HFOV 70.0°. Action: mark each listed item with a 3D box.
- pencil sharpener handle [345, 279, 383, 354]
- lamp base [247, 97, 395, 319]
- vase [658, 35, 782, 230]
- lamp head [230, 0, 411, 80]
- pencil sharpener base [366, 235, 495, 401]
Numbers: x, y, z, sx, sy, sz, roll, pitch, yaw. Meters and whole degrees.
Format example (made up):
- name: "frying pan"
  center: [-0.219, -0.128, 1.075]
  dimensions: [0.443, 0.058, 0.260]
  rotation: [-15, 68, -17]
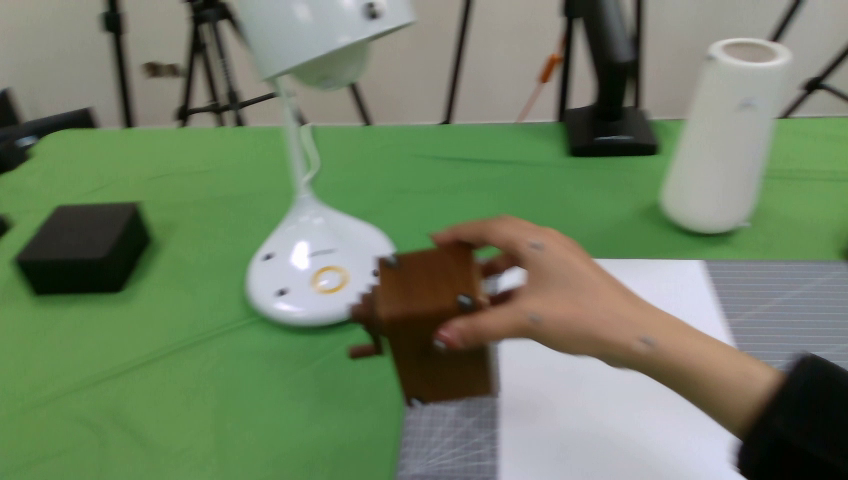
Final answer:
- name: "pencil sharpener handle"
  center: [-0.046, 0.058, 0.424]
  dimensions: [0.030, 0.068, 0.035]
  rotation: [-10, 45, 1]
- name: "lamp base"
  center: [-0.119, -0.040, 0.612]
  dimensions: [0.161, 0.182, 0.177]
  rotation: [-20, 39, -19]
- name: "vase"
  center: [0.314, -0.109, 0.648]
  dimensions: [0.098, 0.202, 0.097]
  rotation: [-3, 38, 3]
- name: "lamp head"
  center: [-0.082, -0.178, 0.393]
  dimensions: [0.112, 0.123, 0.112]
  rotation: [-23, 13, 6]
- name: "pencil sharpener base"
  center: [0.006, 0.059, 0.431]
  dimensions: [0.077, 0.108, 0.060]
  rotation: [-10, 42, 1]
